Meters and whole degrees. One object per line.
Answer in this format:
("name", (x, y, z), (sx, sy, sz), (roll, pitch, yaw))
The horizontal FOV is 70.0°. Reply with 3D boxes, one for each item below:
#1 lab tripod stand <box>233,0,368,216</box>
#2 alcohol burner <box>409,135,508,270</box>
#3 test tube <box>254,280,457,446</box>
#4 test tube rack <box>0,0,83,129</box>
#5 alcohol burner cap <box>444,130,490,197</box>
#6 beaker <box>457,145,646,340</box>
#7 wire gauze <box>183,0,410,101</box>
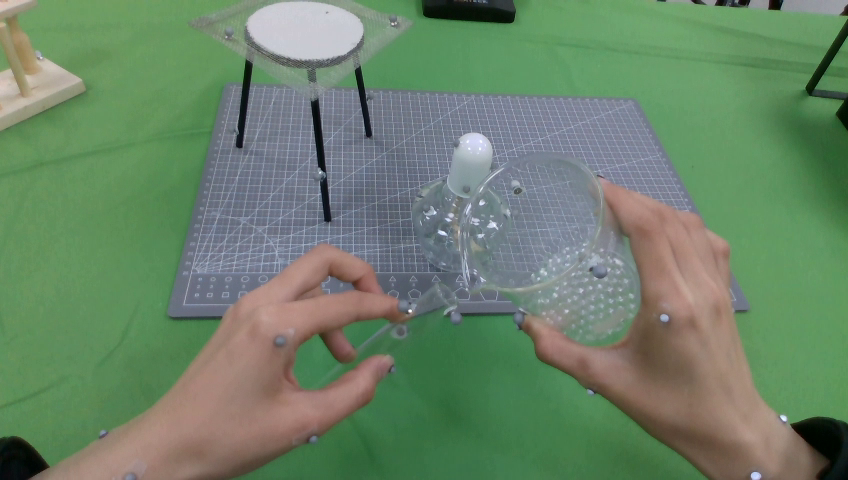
("lab tripod stand", (-0.097, -0.114, 0.505), (0.148, 0.132, 0.147), (5, 48, -5))
("alcohol burner", (0.029, -0.033, 0.461), (0.078, 0.120, 0.077), (5, 46, -5))
("test tube", (-0.042, 0.070, 0.325), (0.017, 0.150, 0.017), (42, 22, -21))
("test tube rack", (-0.426, -0.123, 0.505), (0.066, 0.086, 0.242), (30, 50, 19))
("alcohol burner cap", (0.032, -0.057, 0.434), (0.034, 0.048, 0.033), (2, 52, -2))
("beaker", (0.071, 0.010, 0.325), (0.084, 0.101, 0.073), (-48, 49, 5))
("wire gauze", (-0.092, -0.160, 0.456), (0.124, 0.011, 0.121), (31, 51, 18))
